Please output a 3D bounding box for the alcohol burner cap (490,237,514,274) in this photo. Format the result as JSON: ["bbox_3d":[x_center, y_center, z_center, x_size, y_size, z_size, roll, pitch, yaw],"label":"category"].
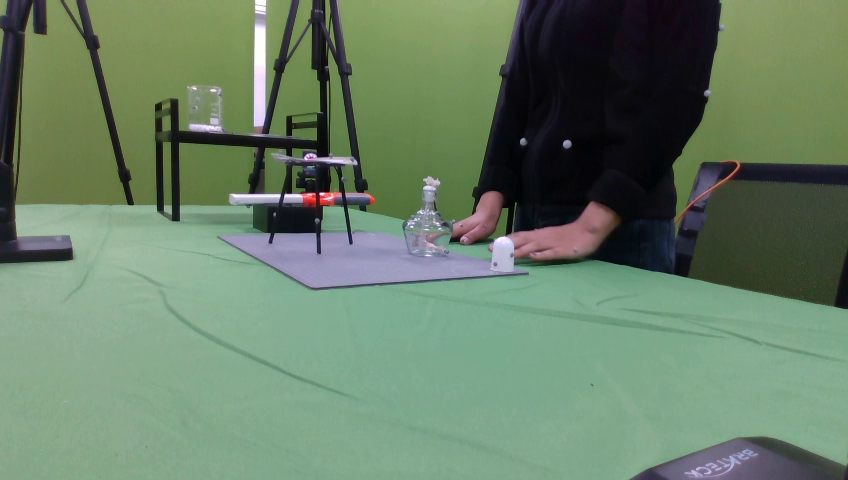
[{"bbox_3d":[0.104,0.020,0.793,0.034,0.048,0.034,2,6,0],"label":"alcohol burner cap"}]

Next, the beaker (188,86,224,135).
[{"bbox_3d":[-0.474,-0.280,1.311,0.074,0.100,0.084,5,8,26],"label":"beaker"}]

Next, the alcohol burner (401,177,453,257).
[{"bbox_3d":[0.006,-0.035,0.903,0.078,0.119,0.078,4,6,0],"label":"alcohol burner"}]

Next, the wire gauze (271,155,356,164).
[{"bbox_3d":[-0.167,-0.122,0.917,0.125,0.011,0.121,0,7,-9],"label":"wire gauze"}]

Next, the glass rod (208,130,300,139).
[{"bbox_3d":[-0.367,-0.231,1.321,0.201,0.008,0.008,-1,8,-30],"label":"glass rod"}]

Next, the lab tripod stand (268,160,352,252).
[{"bbox_3d":[-0.171,-0.055,0.922,0.148,0.131,0.148,1,9,0],"label":"lab tripod stand"}]

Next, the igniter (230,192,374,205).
[{"bbox_3d":[-0.228,-0.079,1.164,0.278,0.025,0.057,-2,14,-30],"label":"igniter"}]
